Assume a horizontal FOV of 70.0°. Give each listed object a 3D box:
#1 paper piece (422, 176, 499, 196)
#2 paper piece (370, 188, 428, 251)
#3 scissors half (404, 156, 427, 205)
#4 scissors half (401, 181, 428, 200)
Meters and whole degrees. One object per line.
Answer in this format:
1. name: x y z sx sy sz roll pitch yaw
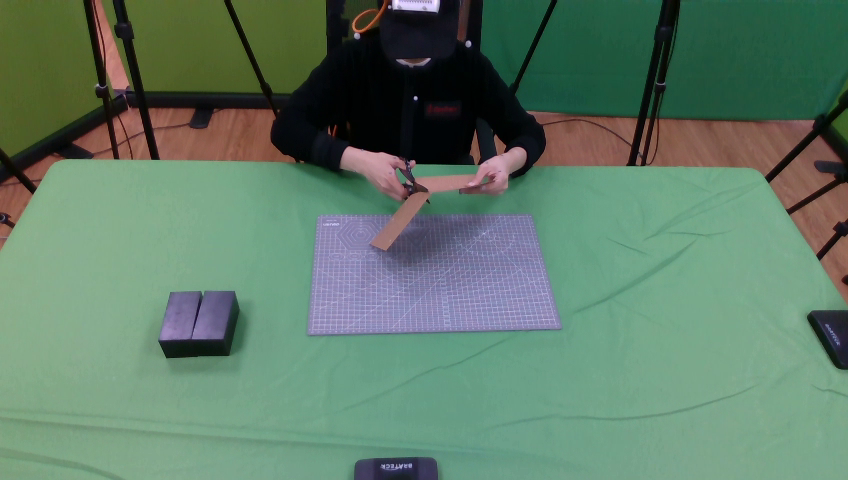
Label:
1. paper piece: 0.058 -0.104 1.163 0.136 0.004 0.135 -12 14 -15
2. paper piece: -0.048 -0.039 1.137 0.009 0.135 0.138 38 84 -12
3. scissors half: -0.015 -0.115 1.175 0.013 0.040 0.174 3 37 -18
4. scissors half: -0.018 -0.094 1.184 0.013 0.040 0.174 -2 8 -17
